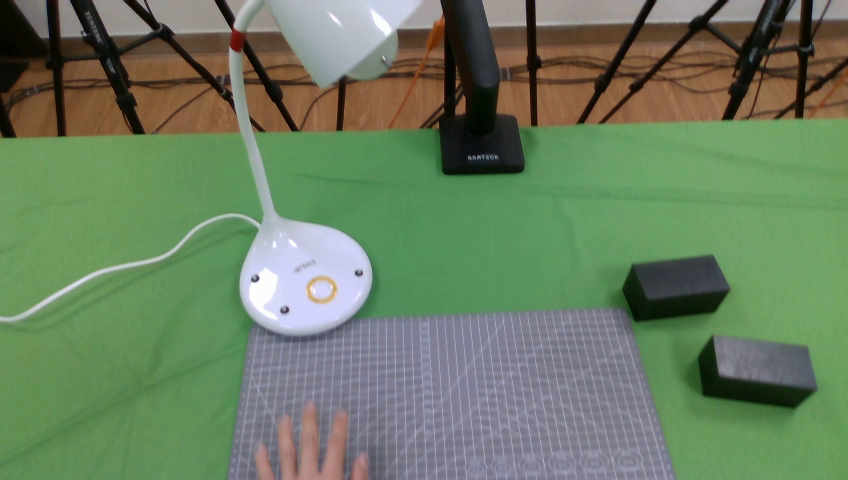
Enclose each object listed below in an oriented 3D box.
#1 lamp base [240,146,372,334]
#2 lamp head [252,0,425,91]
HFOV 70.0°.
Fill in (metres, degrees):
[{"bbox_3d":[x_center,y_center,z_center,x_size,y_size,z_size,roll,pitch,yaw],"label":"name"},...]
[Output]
[{"bbox_3d":[-0.154,-0.009,0.691,0.177,0.182,0.160,35,58,28],"label":"lamp base"},{"bbox_3d":[-0.080,-0.197,0.481,0.124,0.112,0.112,44,54,-18],"label":"lamp head"}]
